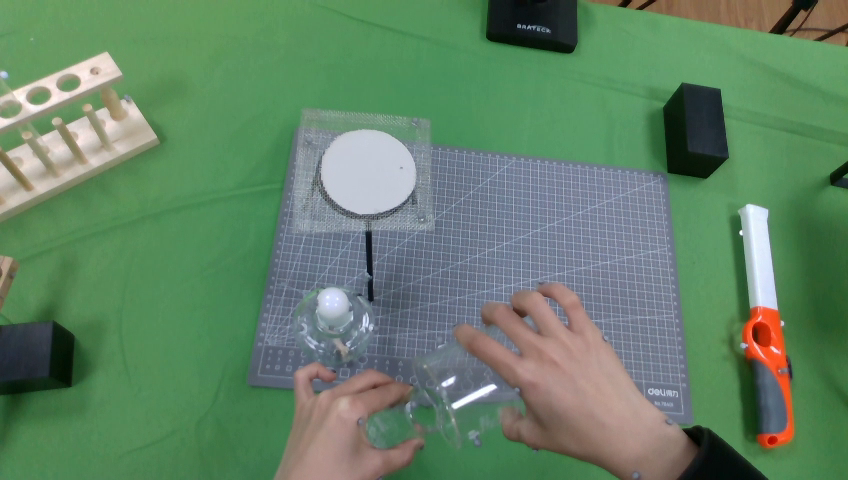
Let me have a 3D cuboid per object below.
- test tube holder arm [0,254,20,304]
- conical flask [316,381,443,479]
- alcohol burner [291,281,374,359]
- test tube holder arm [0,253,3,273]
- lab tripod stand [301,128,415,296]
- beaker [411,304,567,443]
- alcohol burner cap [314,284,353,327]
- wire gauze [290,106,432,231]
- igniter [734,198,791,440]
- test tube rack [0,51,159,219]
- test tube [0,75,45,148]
[{"bbox_3d":[-0.380,0.055,0.533,0.010,0.015,0.087,10,65,-3],"label":"test tube holder arm"},{"bbox_3d":[-0.034,0.159,0.520,0.076,0.122,0.074,25,45,-28],"label":"conical flask"},{"bbox_3d":[-0.085,0.069,0.563,0.078,0.120,0.077,4,65,-8],"label":"alcohol burner"},{"bbox_3d":[-0.391,0.094,0.513,0.013,0.015,0.177,9,65,-4],"label":"test tube holder arm"},{"bbox_3d":[-0.059,-0.034,0.600,0.149,0.132,0.147,3,67,-8],"label":"lab tripod stand"},{"bbox_3d":[0.051,0.099,0.466,0.100,0.084,0.073,-23,70,-16],"label":"beaker"},{"bbox_3d":[-0.080,0.056,0.529,0.034,0.048,0.033,1,70,-2],"label":"alcohol burner cap"},{"bbox_3d":[-0.054,-0.065,0.540,0.122,0.011,0.124,2,68,-7],"label":"wire gauze"},{"bbox_3d":[0.371,0.079,0.669,0.057,0.025,0.274,13,66,-13],"label":"igniter"},{"bbox_3d":[-0.406,-0.090,0.607,0.242,0.085,0.066,-33,74,-19],"label":"test tube rack"},{"bbox_3d":[-0.396,-0.134,0.574,0.017,0.151,0.017,4,61,-7],"label":"test tube"}]
